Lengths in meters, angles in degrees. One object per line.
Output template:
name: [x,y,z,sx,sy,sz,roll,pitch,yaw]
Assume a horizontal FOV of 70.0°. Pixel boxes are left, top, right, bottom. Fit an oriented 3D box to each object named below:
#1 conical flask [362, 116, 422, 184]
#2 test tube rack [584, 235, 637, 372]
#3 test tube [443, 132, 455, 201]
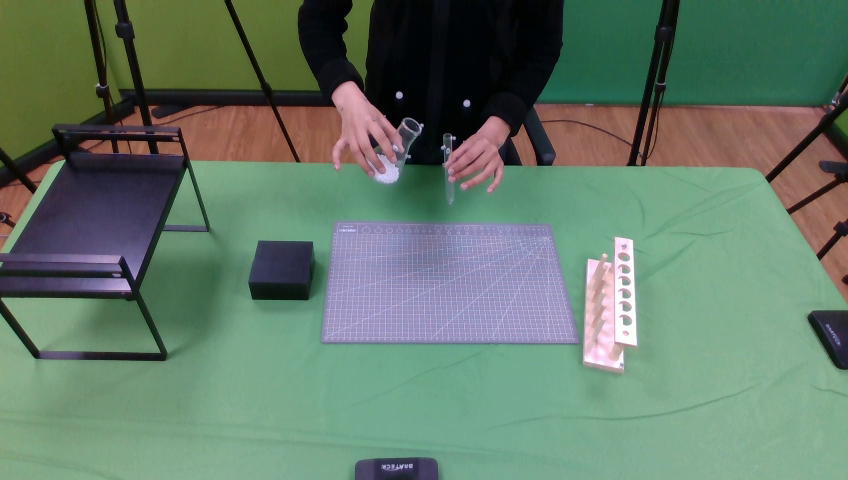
conical flask: [-0.050,-0.160,1.056,0.075,0.122,0.075,22,44,-22]
test tube rack: [0.329,0.103,1.073,0.067,0.085,0.241,11,47,7]
test tube: [0.045,-0.130,1.096,0.017,0.151,0.017,-3,44,3]
